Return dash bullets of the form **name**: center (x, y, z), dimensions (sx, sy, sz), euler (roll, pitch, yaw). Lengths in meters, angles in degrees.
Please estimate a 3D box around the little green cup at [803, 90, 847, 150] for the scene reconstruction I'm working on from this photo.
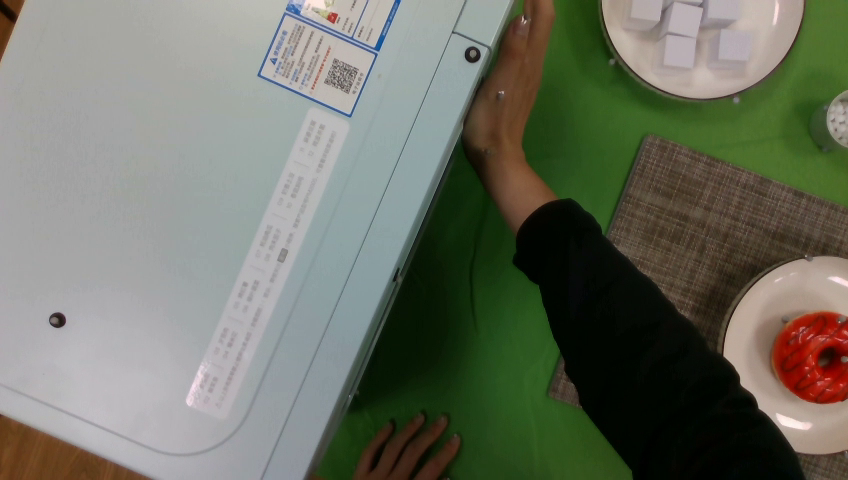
- **little green cup**: center (0.431, -0.122, 0.630), dimensions (0.061, 0.038, 0.061), euler (0, 91, 1)

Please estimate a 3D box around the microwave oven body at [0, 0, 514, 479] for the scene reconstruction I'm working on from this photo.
- **microwave oven body**: center (-0.158, -0.068, 0.520), dimensions (0.326, 0.260, 0.441), euler (23, 92, -1)

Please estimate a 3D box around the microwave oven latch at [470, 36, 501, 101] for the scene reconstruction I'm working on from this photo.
- **microwave oven latch**: center (0.050, -0.174, 0.611), dimensions (0.030, 0.029, 0.079), euler (26, 93, -1)

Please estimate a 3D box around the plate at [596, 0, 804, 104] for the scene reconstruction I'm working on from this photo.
- **plate**: center (0.279, -0.243, 0.626), dimensions (0.208, 0.039, 0.207), euler (0, 92, 0)

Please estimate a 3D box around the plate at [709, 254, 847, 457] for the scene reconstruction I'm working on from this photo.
- **plate**: center (0.400, 0.118, 0.634), dimensions (0.209, 0.038, 0.209), euler (0, 92, 1)

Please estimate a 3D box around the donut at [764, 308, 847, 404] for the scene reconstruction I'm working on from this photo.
- **donut**: center (0.402, 0.119, 0.623), dimensions (0.099, 0.048, 0.099), euler (0, 92, 2)

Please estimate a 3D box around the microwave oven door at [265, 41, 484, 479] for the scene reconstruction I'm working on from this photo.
- **microwave oven door**: center (-0.041, 0.029, 0.518), dimensions (0.039, 0.243, 0.355), euler (23, 92, 0)
